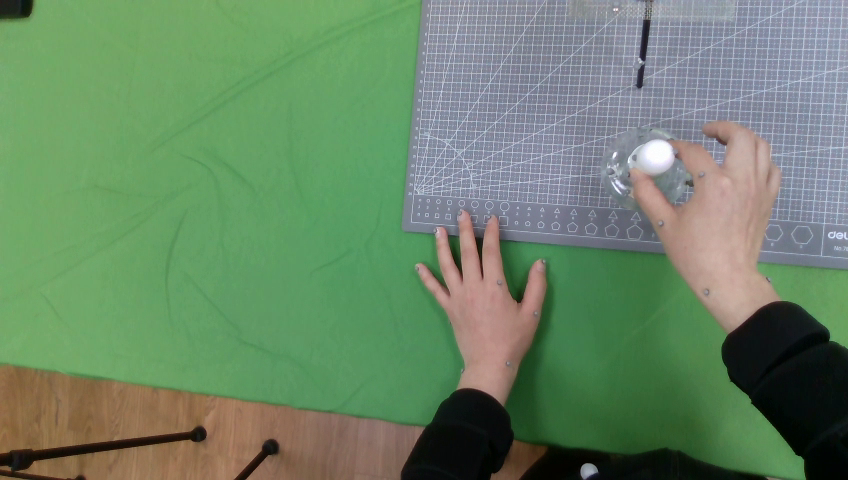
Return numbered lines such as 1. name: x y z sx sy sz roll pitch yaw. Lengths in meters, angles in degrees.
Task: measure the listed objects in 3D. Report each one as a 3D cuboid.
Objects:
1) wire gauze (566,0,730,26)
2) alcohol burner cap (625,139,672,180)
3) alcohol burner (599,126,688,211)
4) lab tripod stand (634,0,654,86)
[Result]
1. wire gauze: 0.176 -0.230 0.470 0.125 0.011 0.121 5 92 10
2. alcohol burner cap: 0.188 -0.069 0.502 0.034 0.048 0.034 0 89 8
3. alcohol burner: 0.197 -0.066 0.537 0.078 0.119 0.078 -1 87 11
4. lab tripod stand: 0.191 -0.226 0.534 0.148 0.132 0.148 0 89 12
